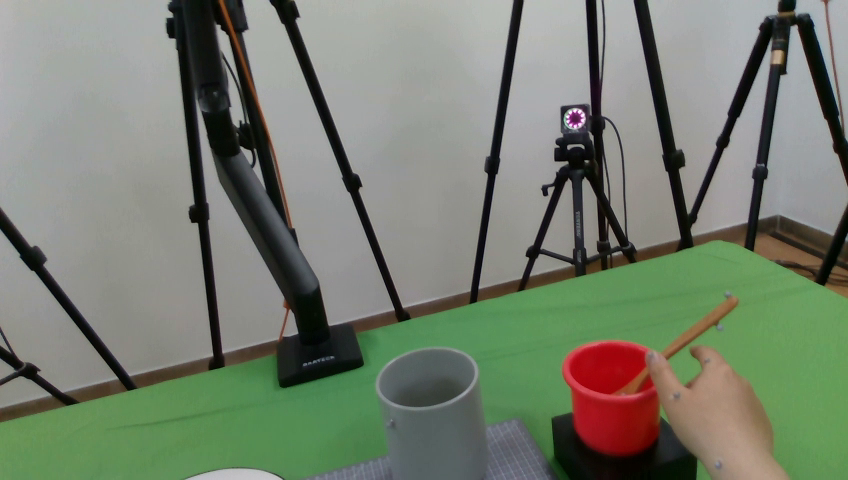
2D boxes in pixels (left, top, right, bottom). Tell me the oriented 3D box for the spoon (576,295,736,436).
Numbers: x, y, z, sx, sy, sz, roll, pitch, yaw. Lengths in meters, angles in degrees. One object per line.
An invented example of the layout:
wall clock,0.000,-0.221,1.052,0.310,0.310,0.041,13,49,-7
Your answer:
spoon,0.218,0.120,0.575,0.194,0.022,0.041,-50,20,16

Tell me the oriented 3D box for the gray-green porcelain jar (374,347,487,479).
gray-green porcelain jar,0.010,0.191,0.626,0.106,0.127,0.105,-7,23,3

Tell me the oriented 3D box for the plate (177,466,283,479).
plate,-0.211,0.299,0.561,0.207,0.039,0.206,-7,22,3
